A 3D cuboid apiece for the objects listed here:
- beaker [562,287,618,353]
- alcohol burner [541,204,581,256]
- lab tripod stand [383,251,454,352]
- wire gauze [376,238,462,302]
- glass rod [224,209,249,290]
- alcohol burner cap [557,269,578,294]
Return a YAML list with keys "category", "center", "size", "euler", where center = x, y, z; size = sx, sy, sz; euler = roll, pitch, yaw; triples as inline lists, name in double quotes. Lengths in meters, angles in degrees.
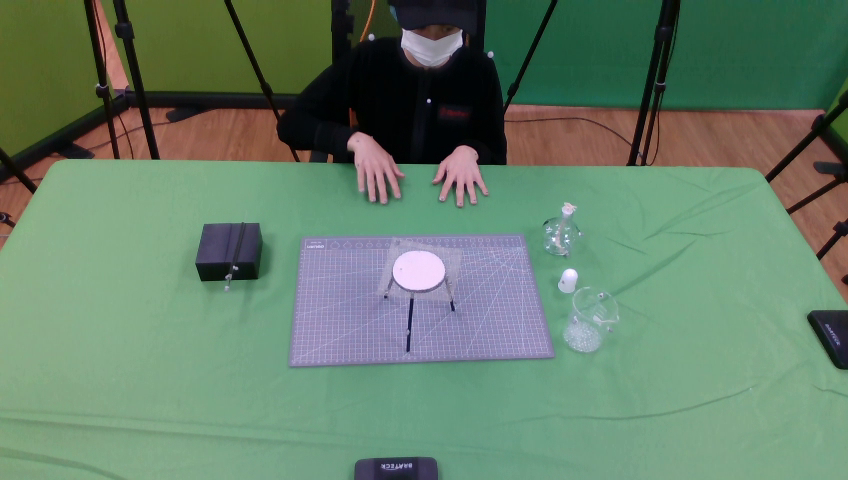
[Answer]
- category: "beaker"
  center: [0.281, 0.140, 1.032]
  size: [0.083, 0.101, 0.074]
  euler: [33, 53, 24]
- category: "alcohol burner"
  center: [0.271, -0.026, 1.182]
  size: [0.078, 0.119, 0.077]
  euler: [4, 46, -3]
- category: "lab tripod stand"
  center: [-0.015, 0.094, 1.025]
  size: [0.148, 0.132, 0.147]
  euler: [1, 46, -1]
- category: "wire gauze"
  center: [-0.006, 0.048, 0.977]
  size: [0.121, 0.011, 0.124]
  euler: [9, 46, 5]
- category: "glass rod"
  center: [-0.340, 0.013, 1.102]
  size: [0.008, 0.008, 0.198]
  euler: [2, 45, -3]
- category: "alcohol burner cap"
  center: [0.270, 0.075, 1.135]
  size: [0.034, 0.048, 0.033]
  euler: [2, 46, -2]
